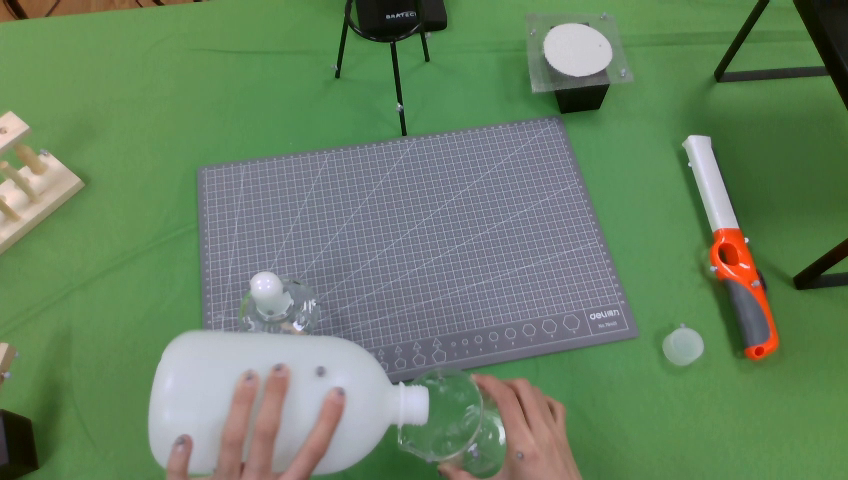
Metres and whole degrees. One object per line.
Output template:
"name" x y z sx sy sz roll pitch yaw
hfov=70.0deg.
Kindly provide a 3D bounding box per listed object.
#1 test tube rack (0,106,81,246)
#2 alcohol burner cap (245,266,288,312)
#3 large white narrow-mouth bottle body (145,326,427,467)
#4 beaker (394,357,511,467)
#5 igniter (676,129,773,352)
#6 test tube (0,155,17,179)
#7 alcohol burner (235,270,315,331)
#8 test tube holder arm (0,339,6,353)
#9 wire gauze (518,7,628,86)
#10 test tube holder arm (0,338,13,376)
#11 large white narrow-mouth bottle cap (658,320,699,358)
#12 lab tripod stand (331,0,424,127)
"test tube rack" -0.499 -0.023 0.634 0.066 0.086 0.242 36 69 14
"alcohol burner cap" -0.146 0.043 0.555 0.034 0.048 0.033 -1 59 1
"large white narrow-mouth bottle body" -0.095 0.119 0.459 0.195 0.102 0.101 3 64 -6
"beaker" 0.027 0.155 0.523 0.084 0.101 0.073 -38 54 3
"igniter" 0.337 -0.008 0.686 0.057 0.025 0.274 1 64 -13
"test tube" -0.469 -0.107 0.620 0.017 0.151 0.017 -1 63 2
"alcohol burner" -0.147 0.059 0.588 0.078 0.120 0.077 2 63 -3
"test tube holder arm" -0.403 0.132 0.549 0.010 0.015 0.087 1 64 6
"wire gauze" 0.181 -0.244 0.750 0.121 0.011 0.124 -2 64 -3
"test tube holder arm" -0.401 0.173 0.529 0.013 0.015 0.177 2 64 6
"large white narrow-mouth bottle cap" 0.266 0.104 0.636 0.038 0.024 0.037 1 64 -1
"lab tripod stand" -0.047 -0.230 0.722 0.148 0.132 0.147 2 65 -3
